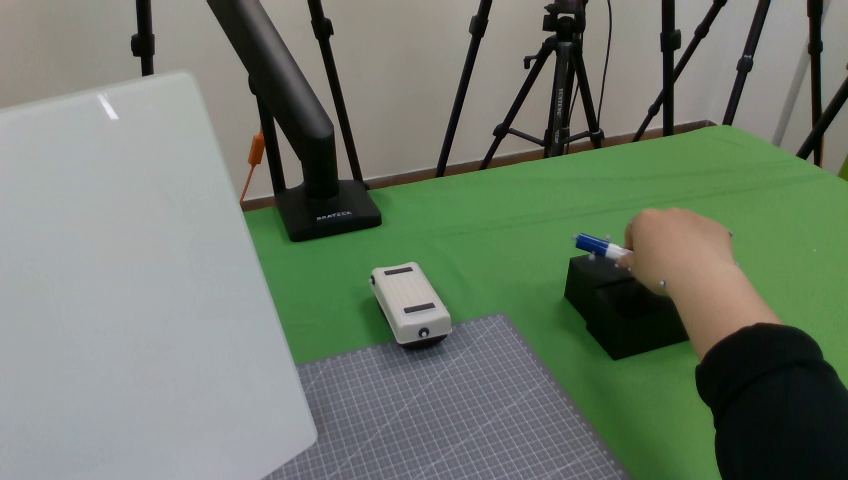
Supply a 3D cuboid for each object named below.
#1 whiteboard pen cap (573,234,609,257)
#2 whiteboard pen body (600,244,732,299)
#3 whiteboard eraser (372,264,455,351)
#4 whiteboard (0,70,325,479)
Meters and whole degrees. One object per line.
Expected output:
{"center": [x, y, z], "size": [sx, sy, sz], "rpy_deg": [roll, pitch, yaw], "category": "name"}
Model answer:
{"center": [0.166, 0.006, 0.605], "size": [0.033, 0.018, 0.018], "rpy_deg": [-19, 34, 3], "category": "whiteboard pen cap"}
{"center": [0.222, 0.026, 0.583], "size": [0.140, 0.017, 0.017], "rpy_deg": [21, 38, 24], "category": "whiteboard pen body"}
{"center": [-0.014, 0.068, 0.616], "size": [0.056, 0.042, 0.111], "rpy_deg": [-12, 31, -15], "category": "whiteboard eraser"}
{"center": [-0.236, 0.060, 0.437], "size": [0.217, 0.307, 0.143], "rpy_deg": [-27, 22, -34], "category": "whiteboard"}
